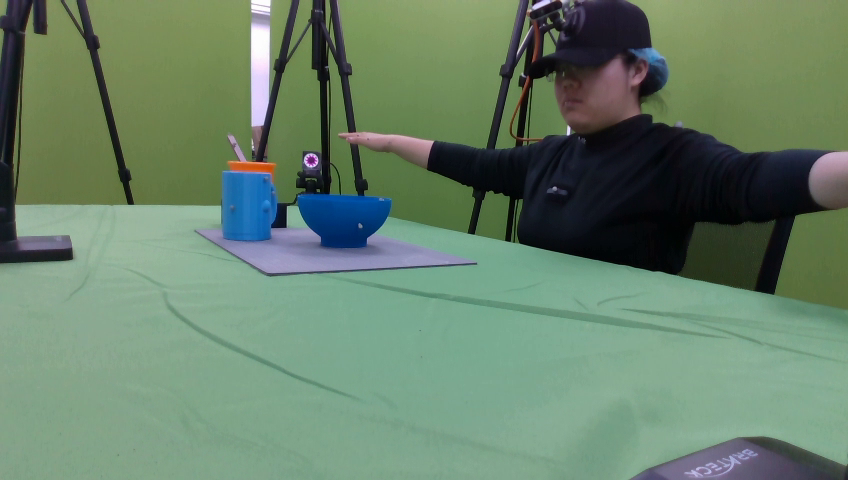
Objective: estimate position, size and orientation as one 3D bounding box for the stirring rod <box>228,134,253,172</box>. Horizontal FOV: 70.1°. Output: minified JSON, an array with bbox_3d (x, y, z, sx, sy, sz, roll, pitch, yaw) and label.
[{"bbox_3d":[-0.353,-0.148,1.197,0.014,0.006,0.175,-3,51,-46],"label":"stirring rod"}]

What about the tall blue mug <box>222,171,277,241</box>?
[{"bbox_3d":[-0.290,-0.059,1.003,0.078,0.108,0.107,1,7,-6],"label":"tall blue mug"}]

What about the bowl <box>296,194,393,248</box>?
[{"bbox_3d":[-0.128,-0.030,0.964,0.151,0.077,0.151,2,7,0],"label":"bowl"}]
